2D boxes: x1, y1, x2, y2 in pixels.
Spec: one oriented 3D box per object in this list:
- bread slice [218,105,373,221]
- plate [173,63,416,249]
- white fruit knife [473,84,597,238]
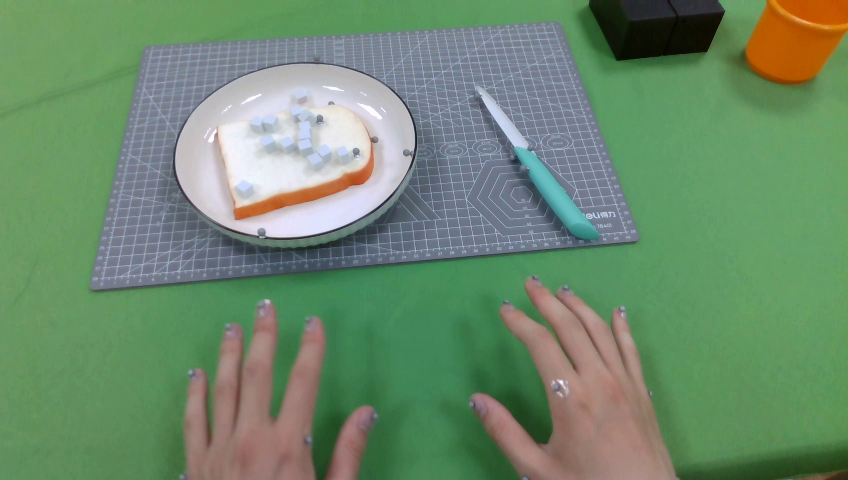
[{"bbox_3d":[-0.113,-0.078,0.541,0.132,0.019,0.104,-18,58,-12],"label":"bread slice"},{"bbox_3d":[-0.110,-0.075,0.536,0.209,0.038,0.207,1,56,-1],"label":"plate"},{"bbox_3d":[0.093,-0.080,0.556,0.027,0.016,0.205,0,47,-37],"label":"white fruit knife"}]
